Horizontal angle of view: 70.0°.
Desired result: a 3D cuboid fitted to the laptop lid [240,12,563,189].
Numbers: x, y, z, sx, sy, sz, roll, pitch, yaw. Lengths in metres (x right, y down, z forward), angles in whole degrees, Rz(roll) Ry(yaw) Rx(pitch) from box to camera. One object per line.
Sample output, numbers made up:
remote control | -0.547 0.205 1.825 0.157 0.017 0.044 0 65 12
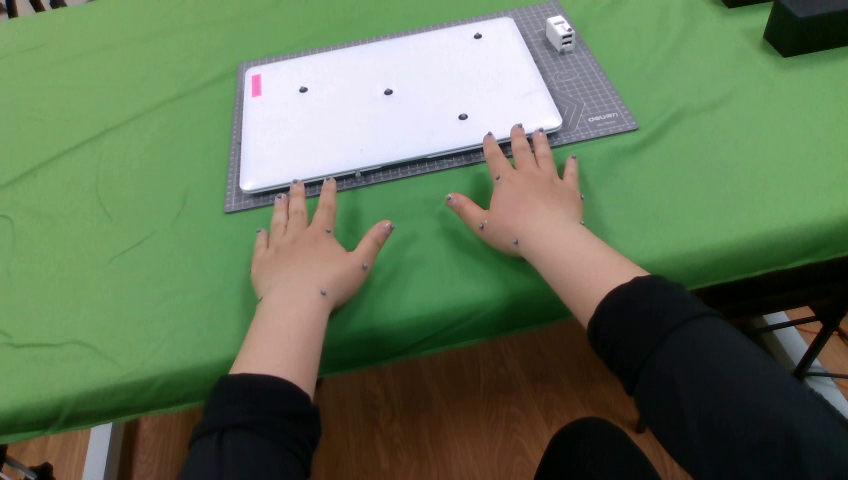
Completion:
laptop lid | -0.040 -0.175 0.711 0.357 0.013 0.239 -11 50 0

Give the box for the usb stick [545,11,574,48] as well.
usb stick | 0.169 -0.269 0.765 0.021 0.027 0.058 -15 45 -3

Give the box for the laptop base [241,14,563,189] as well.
laptop base | -0.039 -0.170 0.721 0.354 0.023 0.233 -12 51 -1
